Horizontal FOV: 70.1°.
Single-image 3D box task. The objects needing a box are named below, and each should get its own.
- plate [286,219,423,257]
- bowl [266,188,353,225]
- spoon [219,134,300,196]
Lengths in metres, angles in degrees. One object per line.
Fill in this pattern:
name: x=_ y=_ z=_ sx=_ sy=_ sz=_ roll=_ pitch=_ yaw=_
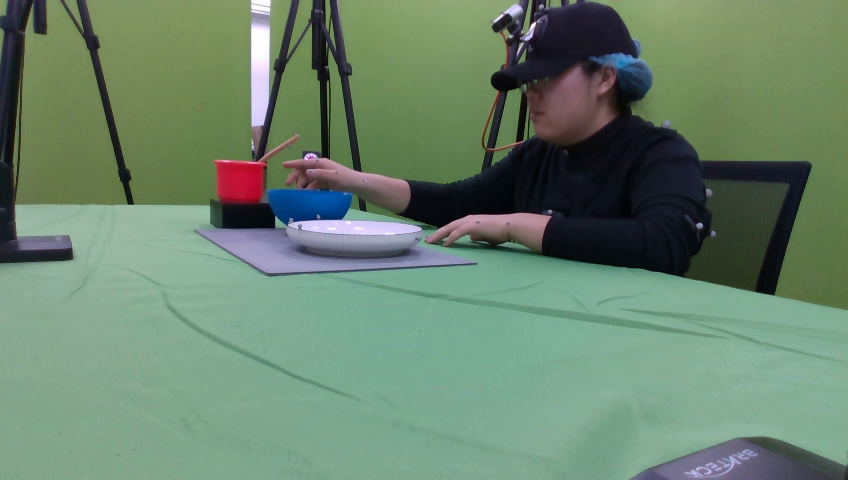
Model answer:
plate: x=-0.105 y=-0.004 z=0.922 sx=0.208 sy=0.039 sz=0.207 roll=3 pitch=8 yaw=0
bowl: x=-0.204 y=-0.049 z=1.079 sx=0.151 sy=0.077 sz=0.151 roll=3 pitch=7 yaw=0
spoon: x=-0.317 y=-0.146 z=1.171 sx=0.194 sy=0.022 sz=0.041 roll=-45 pitch=22 yaw=-14
